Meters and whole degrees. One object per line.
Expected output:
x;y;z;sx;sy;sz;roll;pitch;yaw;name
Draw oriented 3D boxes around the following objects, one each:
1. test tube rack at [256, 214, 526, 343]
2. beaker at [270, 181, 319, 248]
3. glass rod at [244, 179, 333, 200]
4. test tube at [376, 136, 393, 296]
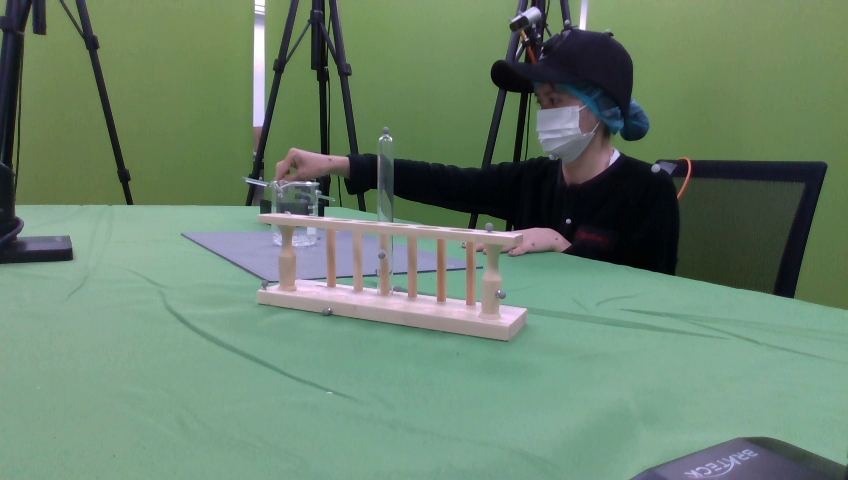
-0.032;0.027;0.547;0.241;0.085;0.067;5;7;22;test tube rack
-0.203;-0.040;0.935;0.074;0.100;0.084;5;8;18;beaker
-0.272;-0.103;1.234;0.201;0.008;0.008;10;1;-39;glass rod
-0.037;-0.021;0.565;0.017;0.150;0.017;1;6;0;test tube
